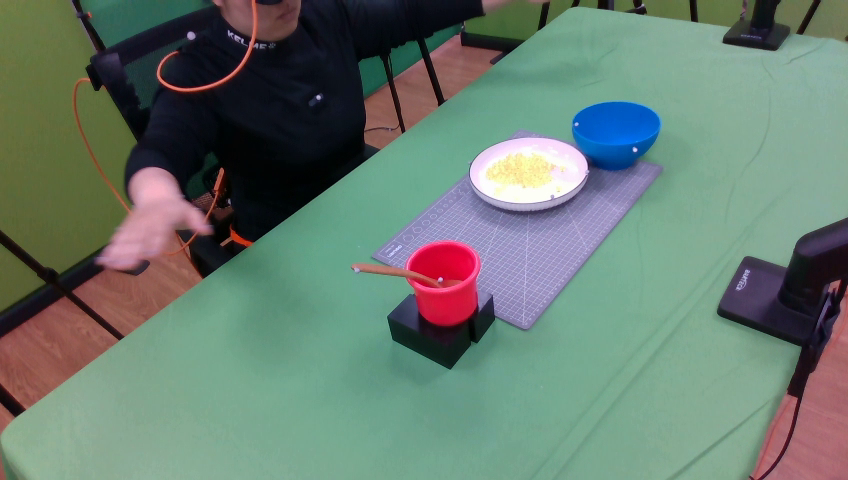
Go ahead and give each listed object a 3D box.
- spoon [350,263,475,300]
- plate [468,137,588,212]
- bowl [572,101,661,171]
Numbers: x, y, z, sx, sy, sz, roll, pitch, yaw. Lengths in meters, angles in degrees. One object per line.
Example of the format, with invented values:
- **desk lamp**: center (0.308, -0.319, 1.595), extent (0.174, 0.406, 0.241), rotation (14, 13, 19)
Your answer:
- **spoon**: center (-0.010, 0.048, 0.754), extent (0.195, 0.021, 0.041), rotation (19, 25, -39)
- **plate**: center (0.181, -0.112, 1.064), extent (0.207, 0.039, 0.206), rotation (-5, 40, 5)
- **bowl**: center (0.339, -0.177, 1.079), extent (0.151, 0.077, 0.150), rotation (-5, 40, 5)
